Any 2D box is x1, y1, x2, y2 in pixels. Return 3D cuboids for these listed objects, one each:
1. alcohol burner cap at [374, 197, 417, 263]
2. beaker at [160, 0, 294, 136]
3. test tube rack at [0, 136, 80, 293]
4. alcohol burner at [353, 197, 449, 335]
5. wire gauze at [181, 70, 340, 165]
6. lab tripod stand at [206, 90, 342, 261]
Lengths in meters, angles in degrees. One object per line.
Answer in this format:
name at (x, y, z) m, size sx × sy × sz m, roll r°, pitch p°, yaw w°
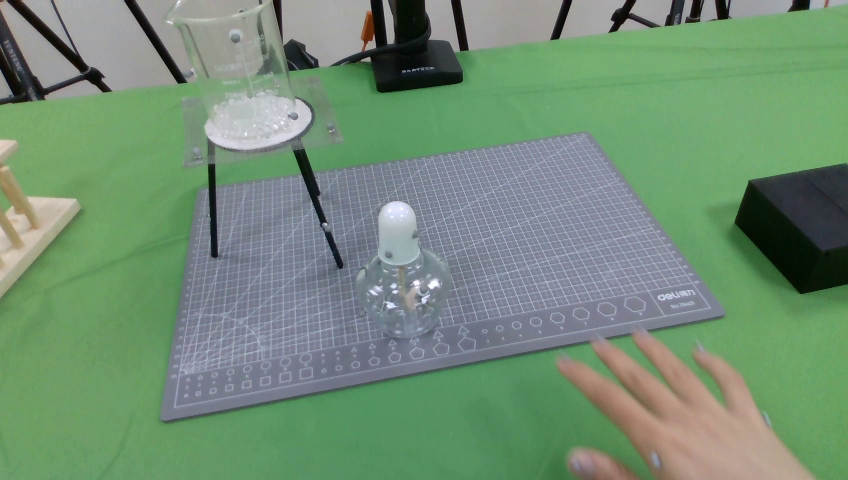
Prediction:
alcohol burner cap at (-0.022, -0.009, 0.451) m, size 0.034 × 0.048 × 0.033 m, roll 0°, pitch 38°, yaw 1°
beaker at (-0.148, -0.139, 0.473) m, size 0.084 × 0.101 × 0.073 m, roll -14°, pitch 42°, yaw -9°
test tube rack at (-0.422, 0.008, 0.540) m, size 0.066 × 0.086 × 0.240 m, roll 4°, pitch 42°, yaw 8°
alcohol burner at (-0.019, 0.017, 0.476) m, size 0.078 × 0.120 × 0.077 m, roll -3°, pitch 40°, yaw 3°
wire gauze at (-0.141, -0.103, 0.507) m, size 0.125 × 0.011 × 0.120 m, roll -15°, pitch 41°, yaw -8°
lab tripod stand at (-0.138, -0.055, 0.550) m, size 0.148 × 0.133 × 0.147 m, roll -2°, pitch 44°, yaw 2°
